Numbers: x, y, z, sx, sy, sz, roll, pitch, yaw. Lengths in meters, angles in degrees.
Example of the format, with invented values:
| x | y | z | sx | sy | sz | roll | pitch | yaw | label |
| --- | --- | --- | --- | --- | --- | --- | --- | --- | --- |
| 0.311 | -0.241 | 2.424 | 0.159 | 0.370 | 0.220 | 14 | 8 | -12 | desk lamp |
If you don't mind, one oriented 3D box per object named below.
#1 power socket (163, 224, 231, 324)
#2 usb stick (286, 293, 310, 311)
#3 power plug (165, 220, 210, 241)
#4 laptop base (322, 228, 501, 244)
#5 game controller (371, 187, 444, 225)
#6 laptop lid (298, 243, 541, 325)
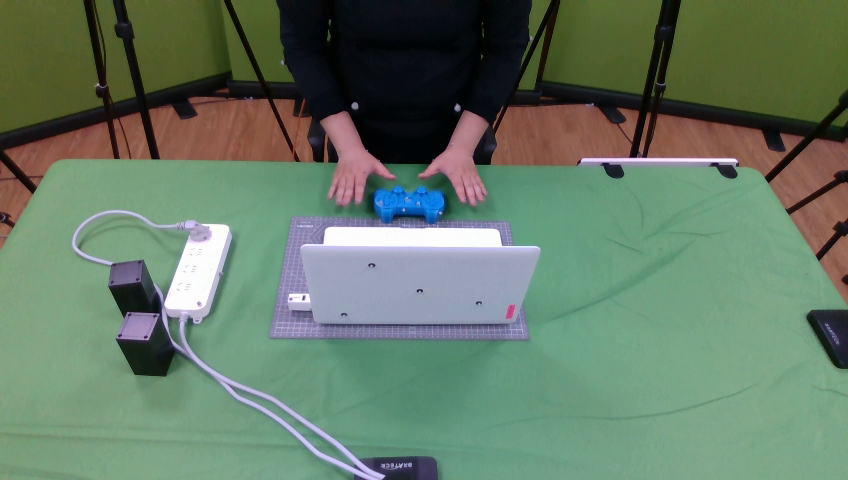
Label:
| x | y | z | sx | sy | sz | roll | pitch | yaw | label |
| --- | --- | --- | --- | --- | --- | --- | --- | --- | --- |
| -0.411 | 0.052 | 1.107 | 0.072 | 0.033 | 0.225 | 3 | 46 | -3 | power socket |
| -0.210 | 0.109 | 1.059 | 0.059 | 0.027 | 0.021 | 4 | 44 | -6 | usb stick |
| -0.440 | -0.015 | 1.143 | 0.072 | 0.053 | 0.035 | 6 | 46 | 9 | power plug |
| -0.020 | 0.063 | 1.136 | 0.355 | 0.023 | 0.234 | 0 | 43 | -4 | laptop base |
| -0.033 | -0.079 | 1.254 | 0.155 | 0.052 | 0.096 | 1 | 47 | -3 | game controller |
| -0.010 | 0.076 | 0.958 | 0.357 | 0.243 | 0.013 | 1 | 53 | -5 | laptop lid |
